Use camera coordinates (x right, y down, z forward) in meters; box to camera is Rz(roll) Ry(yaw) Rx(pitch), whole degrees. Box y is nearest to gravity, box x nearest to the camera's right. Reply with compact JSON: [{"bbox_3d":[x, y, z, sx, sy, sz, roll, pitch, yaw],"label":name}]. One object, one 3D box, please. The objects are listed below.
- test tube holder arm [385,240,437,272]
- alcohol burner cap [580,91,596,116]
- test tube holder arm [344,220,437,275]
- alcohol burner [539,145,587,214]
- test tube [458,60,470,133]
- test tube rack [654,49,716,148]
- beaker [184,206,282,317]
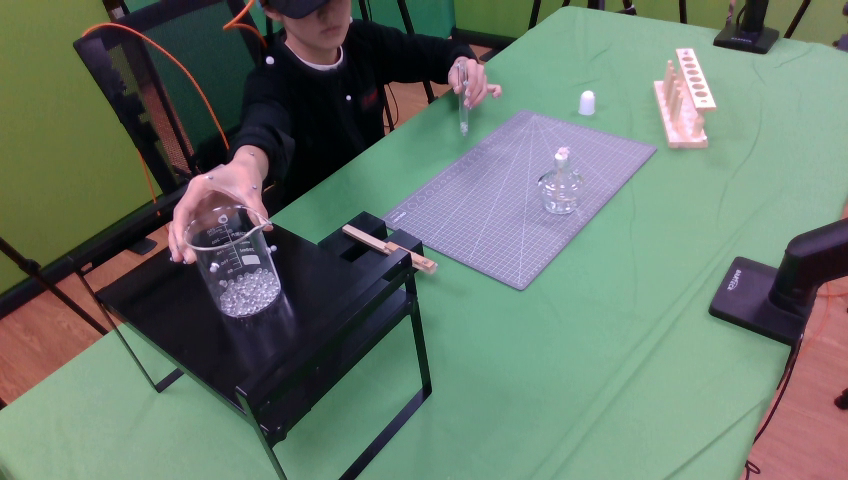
[{"bbox_3d":[-0.020,0.022,0.873,0.087,0.010,0.015,26,57,32],"label":"test tube holder arm"},{"bbox_3d":[0.338,-0.283,1.238,0.034,0.048,0.033,-4,42,4],"label":"alcohol burner cap"},{"bbox_3d":[-0.053,0.009,0.900,0.177,0.013,0.015,26,57,31],"label":"test tube holder arm"},{"bbox_3d":[0.226,-0.102,0.986,0.078,0.119,0.077,-6,41,6],"label":"alcohol burner"},{"bbox_3d":[0.074,-0.258,1.100,0.017,0.151,0.017,-3,47,4],"label":"test tube"},{"bbox_3d":[0.502,-0.281,1.176,0.066,0.085,0.241,1,41,11],"label":"test tube rack"},{"bbox_3d":[-0.194,0.024,0.638,0.084,0.101,0.073,-12,38,-5],"label":"beaker"}]
